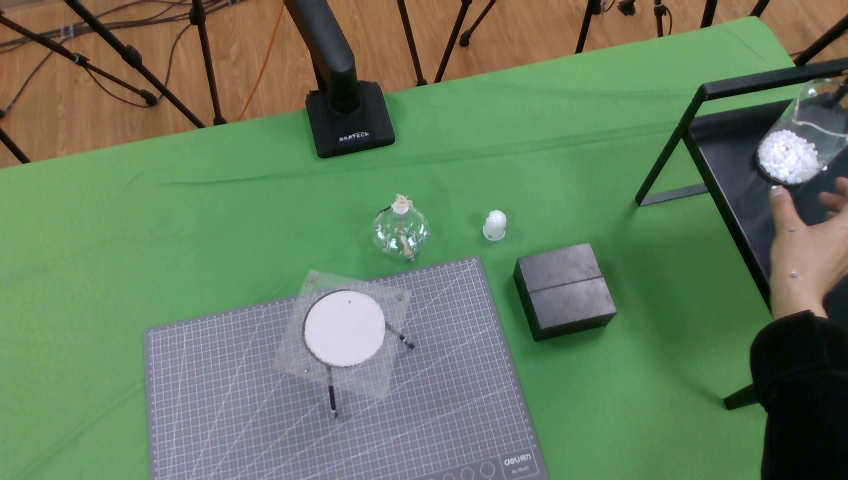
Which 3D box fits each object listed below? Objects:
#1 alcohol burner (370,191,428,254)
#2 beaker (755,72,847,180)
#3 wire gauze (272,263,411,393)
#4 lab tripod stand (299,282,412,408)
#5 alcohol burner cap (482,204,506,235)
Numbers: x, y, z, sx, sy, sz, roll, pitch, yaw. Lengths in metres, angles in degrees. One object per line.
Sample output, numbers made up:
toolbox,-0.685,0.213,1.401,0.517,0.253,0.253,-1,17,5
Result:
alcohol burner,-0.032,-0.030,0.797,0.078,0.120,0.077,1,63,-2
beaker,0.412,-0.117,0.654,0.084,0.101,0.073,-16,65,-8
wire gauze,-0.086,0.089,0.649,0.125,0.011,0.120,14,64,5
lab tripod stand,-0.086,0.113,0.712,0.148,0.132,0.147,1,62,-1
alcohol burner cap,0.098,-0.030,0.839,0.034,0.048,0.033,0,63,1
